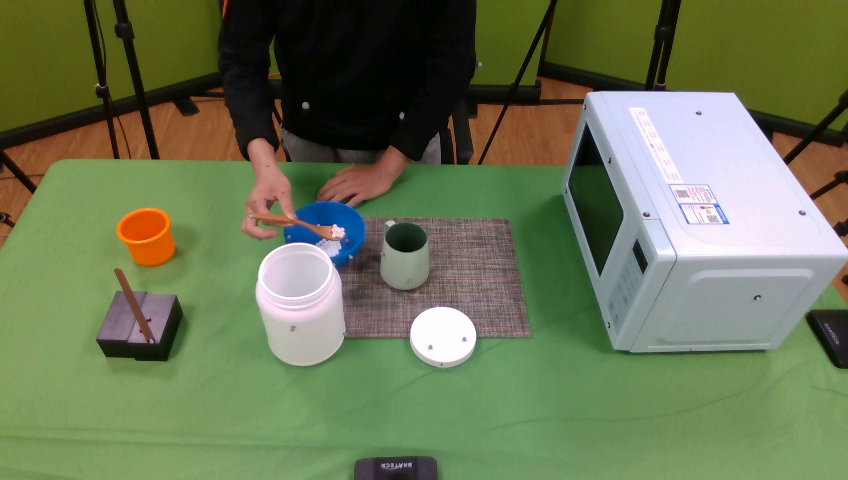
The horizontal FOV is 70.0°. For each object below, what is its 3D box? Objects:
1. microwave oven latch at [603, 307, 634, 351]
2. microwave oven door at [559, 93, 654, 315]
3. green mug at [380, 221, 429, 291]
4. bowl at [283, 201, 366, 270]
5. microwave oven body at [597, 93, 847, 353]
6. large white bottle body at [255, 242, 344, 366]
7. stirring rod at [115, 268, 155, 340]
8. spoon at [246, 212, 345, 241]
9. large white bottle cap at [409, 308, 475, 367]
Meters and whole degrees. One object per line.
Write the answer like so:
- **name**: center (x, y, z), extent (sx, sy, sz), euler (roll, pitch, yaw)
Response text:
- **microwave oven latch**: center (0.332, 0.153, 1.044), extent (0.030, 0.029, 0.078), euler (0, 45, -4)
- **microwave oven door**: center (0.327, -0.074, 1.123), extent (0.039, 0.245, 0.353), euler (-1, 46, -5)
- **green mug**: center (-0.043, 0.020, 1.116), extent (0.092, 0.105, 0.124), euler (-20, 50, -21)
- **bowl**: center (-0.185, 0.006, 1.136), extent (0.151, 0.077, 0.150), euler (3, 46, -3)
- **microwave oven body**: center (0.475, -0.041, 1.109), extent (0.326, 0.261, 0.438), euler (-1, 45, -4)
- **large white bottle body**: center (-0.196, 0.102, 0.967), extent (0.131, 0.185, 0.130), euler (2, 49, -2)
- **stirring rod**: center (-0.478, 0.103, 0.999), extent (0.014, 0.006, 0.175), euler (7, 32, -49)
- **spoon**: center (-0.219, -0.028, 1.048), extent (0.195, 0.021, 0.041), euler (18, 29, -44)
- **large white bottle cap**: center (0.031, 0.165, 1.041), extent (0.115, 0.018, 0.114), euler (2, 47, -2)
